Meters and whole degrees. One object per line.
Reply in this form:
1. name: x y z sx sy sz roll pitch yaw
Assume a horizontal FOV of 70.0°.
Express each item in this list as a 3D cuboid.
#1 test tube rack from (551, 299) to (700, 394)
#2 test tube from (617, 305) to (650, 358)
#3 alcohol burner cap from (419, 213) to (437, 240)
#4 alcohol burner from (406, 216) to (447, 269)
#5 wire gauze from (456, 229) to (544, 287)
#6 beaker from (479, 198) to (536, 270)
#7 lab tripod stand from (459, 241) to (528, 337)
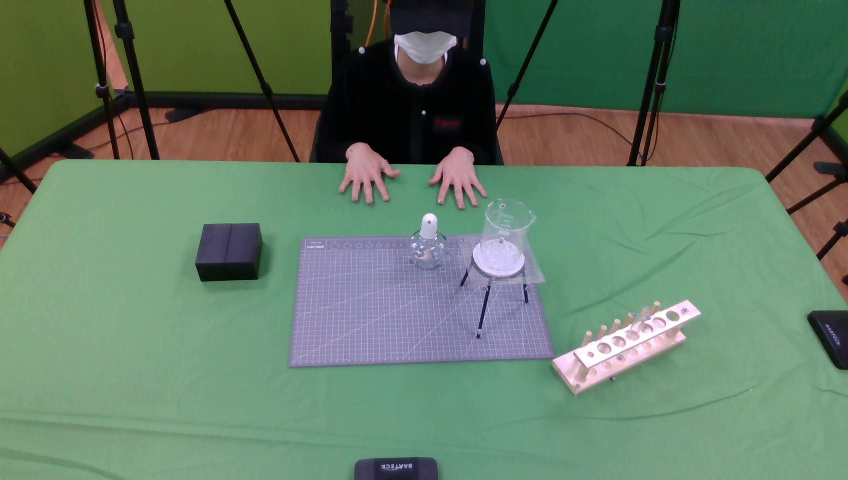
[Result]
1. test tube rack: 0.339 0.166 1.021 0.242 0.085 0.066 -19 50 -21
2. test tube: 0.333 0.149 0.967 0.017 0.151 0.017 0 52 1
3. alcohol burner cap: 0.009 -0.027 1.109 0.034 0.048 0.033 3 44 -3
4. alcohol burner: 0.006 -0.002 1.134 0.078 0.120 0.077 2 48 -2
5. wire gauze: 0.125 0.030 1.008 0.125 0.011 0.120 -3 48 -11
6. beaker: 0.131 -0.007 0.975 0.084 0.101 0.073 2 46 -4
7. lab tripod stand: 0.122 0.075 1.054 0.148 0.132 0.147 3 44 -3
